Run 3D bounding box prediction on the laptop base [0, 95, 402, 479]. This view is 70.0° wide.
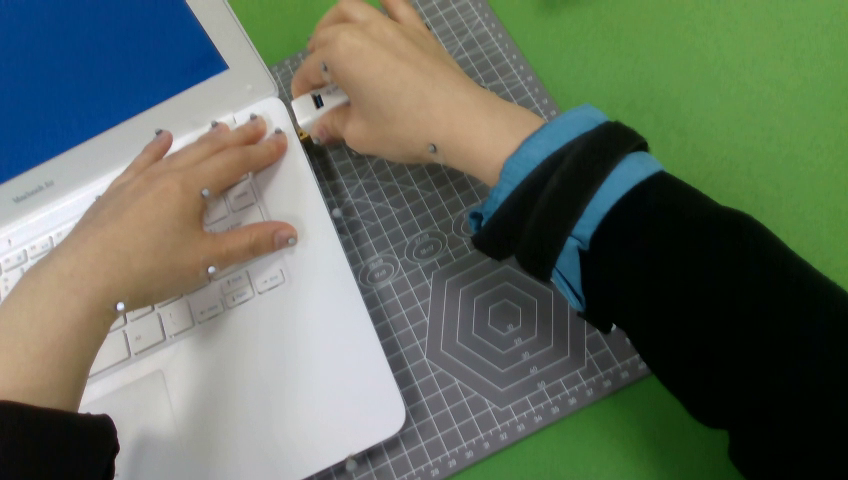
[{"bbox_3d":[-0.209,0.074,0.371,0.354,0.023,0.233,-26,70,2],"label":"laptop base"}]

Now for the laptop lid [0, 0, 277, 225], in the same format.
[{"bbox_3d":[-0.294,-0.102,0.339,0.357,0.244,0.013,-27,41,3],"label":"laptop lid"}]

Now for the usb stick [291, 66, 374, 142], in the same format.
[{"bbox_3d":[-0.063,-0.081,0.380,0.059,0.027,0.021,-29,59,14],"label":"usb stick"}]
